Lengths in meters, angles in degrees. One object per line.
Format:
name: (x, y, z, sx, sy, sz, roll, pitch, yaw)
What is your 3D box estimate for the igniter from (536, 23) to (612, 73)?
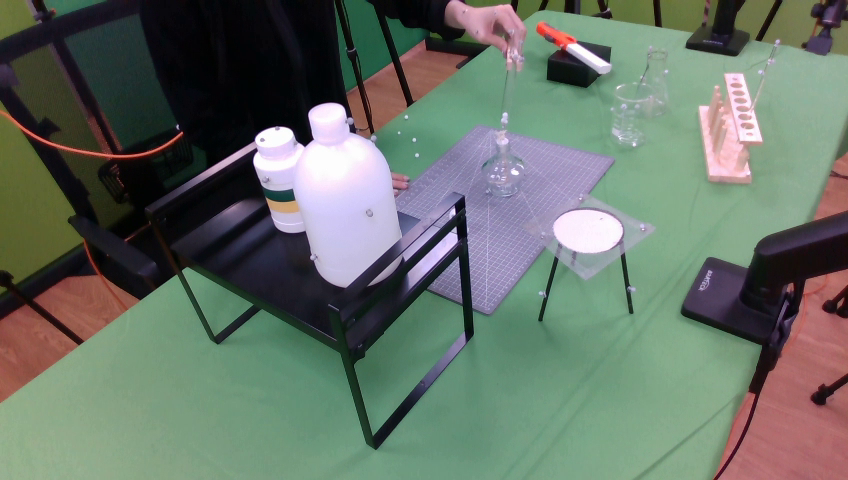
igniter: (0.330, -0.439, 1.366, 0.057, 0.025, 0.274, -12, 40, -20)

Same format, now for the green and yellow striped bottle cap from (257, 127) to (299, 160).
green and yellow striped bottle cap: (-0.169, -0.112, 0.698, 0.045, 0.020, 0.045, -5, 40, 5)

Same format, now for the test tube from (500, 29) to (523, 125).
test tube: (0.138, -0.256, 0.957, 0.017, 0.150, 0.017, 4, 30, -2)

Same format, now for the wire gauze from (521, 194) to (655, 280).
wire gauze: (0.207, -0.012, 0.772, 0.122, 0.011, 0.124, -28, 44, -20)

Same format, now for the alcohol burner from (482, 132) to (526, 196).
alcohol burner: (0.137, -0.136, 1.042, 0.078, 0.119, 0.077, -4, 43, 4)

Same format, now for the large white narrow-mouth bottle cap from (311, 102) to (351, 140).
large white narrow-mouth bottle cap: (-0.089, -0.114, 0.579, 0.038, 0.024, 0.037, -4, 39, 3)

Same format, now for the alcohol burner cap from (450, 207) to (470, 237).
alcohol burner cap: (0.057, -0.032, 0.987, 0.034, 0.048, 0.033, -4, 41, 4)

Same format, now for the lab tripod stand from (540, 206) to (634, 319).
lab tripod stand: (0.217, 0.034, 0.821, 0.148, 0.132, 0.147, -4, 42, 4)

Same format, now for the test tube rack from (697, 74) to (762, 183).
test tube rack: (0.547, -0.208, 1.095, 0.066, 0.085, 0.242, 5, 42, 15)

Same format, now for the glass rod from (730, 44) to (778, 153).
glass rod: (0.554, -0.233, 1.020, 0.008, 0.200, 0.008, 2, 39, -1)

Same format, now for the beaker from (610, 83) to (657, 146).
beaker: (0.388, -0.235, 1.137, 0.074, 0.101, 0.083, -31, 45, -26)

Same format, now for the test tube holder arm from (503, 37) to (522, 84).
test tube holder arm: (0.143, -0.286, 0.967, 0.010, 0.088, 0.015, 17, 67, 30)

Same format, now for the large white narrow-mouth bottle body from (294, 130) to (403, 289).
large white narrow-mouth bottle body: (-0.082, -0.047, 0.634, 0.102, 0.195, 0.101, -4, 39, 4)

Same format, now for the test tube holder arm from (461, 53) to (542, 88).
test tube holder arm: (0.125, -0.279, 1.003, 0.177, 0.013, 0.015, -2, 57, 51)

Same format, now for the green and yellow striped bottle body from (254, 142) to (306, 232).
green and yellow striped bottle body: (-0.165, -0.073, 0.732, 0.063, 0.120, 0.063, -4, 41, 4)

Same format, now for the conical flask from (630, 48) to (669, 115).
conical flask: (0.457, -0.317, 1.205, 0.075, 0.122, 0.075, -4, 41, 4)
